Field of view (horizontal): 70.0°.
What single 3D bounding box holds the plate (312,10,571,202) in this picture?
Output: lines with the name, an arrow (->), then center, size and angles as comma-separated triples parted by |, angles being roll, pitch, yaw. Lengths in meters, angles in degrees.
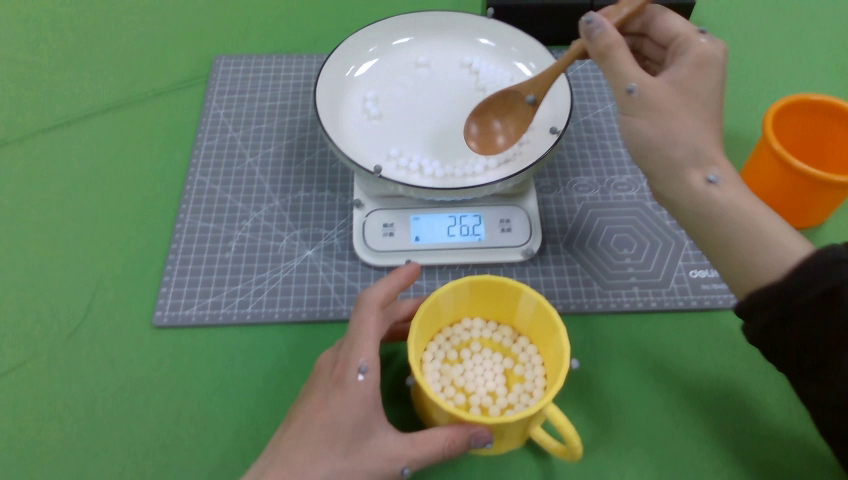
plate -> 0.014, -0.111, 0.500 | 0.209, 0.038, 0.207 | 1, 57, -1

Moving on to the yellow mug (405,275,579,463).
yellow mug -> 0.049, 0.091, 0.390 | 0.100, 0.064, 0.130 | -38, 65, -21

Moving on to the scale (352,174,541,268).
scale -> 0.015, -0.069, 0.512 | 0.149, 0.032, 0.199 | -2, 57, -1

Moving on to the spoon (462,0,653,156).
spoon -> 0.099, -0.121, 0.397 | 0.022, 0.194, 0.041 | -18, 74, -55
